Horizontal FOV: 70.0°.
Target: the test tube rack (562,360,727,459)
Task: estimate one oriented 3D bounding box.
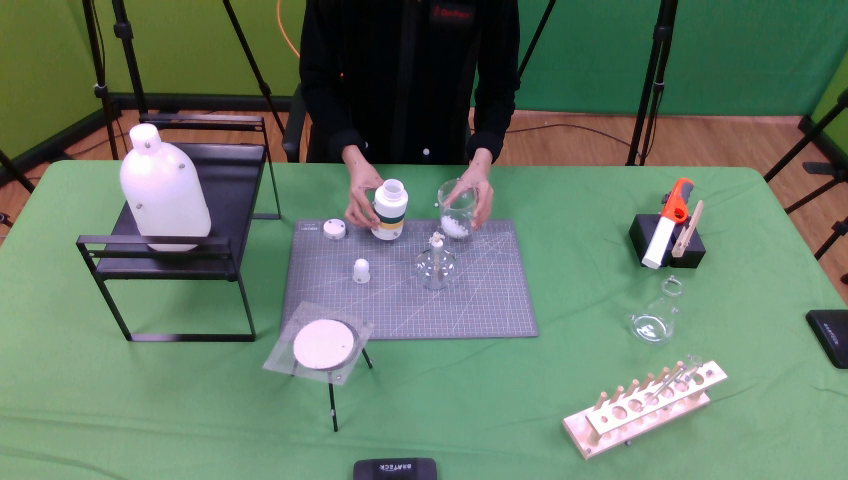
[{"bbox_3d":[0.341,0.247,0.940,0.243,0.085,0.066,-16,49,-18],"label":"test tube rack"}]

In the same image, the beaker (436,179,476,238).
[{"bbox_3d":[0.065,-0.059,1.161,0.073,0.101,0.084,30,62,22],"label":"beaker"}]

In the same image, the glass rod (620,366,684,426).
[{"bbox_3d":[0.322,0.227,0.866,0.008,0.200,0.008,5,51,-7],"label":"glass rod"}]

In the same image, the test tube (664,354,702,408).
[{"bbox_3d":[0.385,0.215,0.906,0.017,0.151,0.017,-1,49,1],"label":"test tube"}]

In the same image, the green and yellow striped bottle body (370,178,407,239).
[{"bbox_3d":[-0.067,-0.062,1.152,0.063,0.120,0.063,6,48,-7],"label":"green and yellow striped bottle body"}]

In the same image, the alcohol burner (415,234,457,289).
[{"bbox_3d":[0.022,0.033,1.100,0.078,0.120,0.077,1,47,0],"label":"alcohol burner"}]

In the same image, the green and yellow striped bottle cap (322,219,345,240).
[{"bbox_3d":[-0.180,-0.021,1.206,0.045,0.020,0.045,2,45,-1],"label":"green and yellow striped bottle cap"}]

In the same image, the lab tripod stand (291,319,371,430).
[{"bbox_3d":[-0.146,0.193,0.923,0.148,0.132,0.147,1,47,-1],"label":"lab tripod stand"}]

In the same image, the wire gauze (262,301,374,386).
[{"bbox_3d":[-0.150,0.148,0.873,0.121,0.011,0.124,14,46,12],"label":"wire gauze"}]

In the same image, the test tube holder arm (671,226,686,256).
[{"bbox_3d":[0.494,0.001,1.167,0.010,0.015,0.087,1,36,42],"label":"test tube holder arm"}]

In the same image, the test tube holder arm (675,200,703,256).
[{"bbox_3d":[0.523,-0.025,1.190,0.013,0.015,0.178,1,36,42],"label":"test tube holder arm"}]

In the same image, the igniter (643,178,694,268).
[{"bbox_3d":[0.488,-0.042,1.205,0.057,0.025,0.276,30,51,11],"label":"igniter"}]

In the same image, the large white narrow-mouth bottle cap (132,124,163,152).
[{"bbox_3d":[-0.371,-0.137,0.813,0.038,0.024,0.037,3,46,-3],"label":"large white narrow-mouth bottle cap"}]

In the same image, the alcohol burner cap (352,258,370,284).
[{"bbox_3d":[-0.117,0.055,1.118,0.034,0.048,0.033,1,46,-1],"label":"alcohol burner cap"}]

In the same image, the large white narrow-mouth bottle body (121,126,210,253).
[{"bbox_3d":[-0.378,-0.077,0.875,0.102,0.195,0.101,3,46,-3],"label":"large white narrow-mouth bottle body"}]

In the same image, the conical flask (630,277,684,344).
[{"bbox_3d":[0.408,0.117,1.045,0.075,0.122,0.075,2,46,-2],"label":"conical flask"}]
